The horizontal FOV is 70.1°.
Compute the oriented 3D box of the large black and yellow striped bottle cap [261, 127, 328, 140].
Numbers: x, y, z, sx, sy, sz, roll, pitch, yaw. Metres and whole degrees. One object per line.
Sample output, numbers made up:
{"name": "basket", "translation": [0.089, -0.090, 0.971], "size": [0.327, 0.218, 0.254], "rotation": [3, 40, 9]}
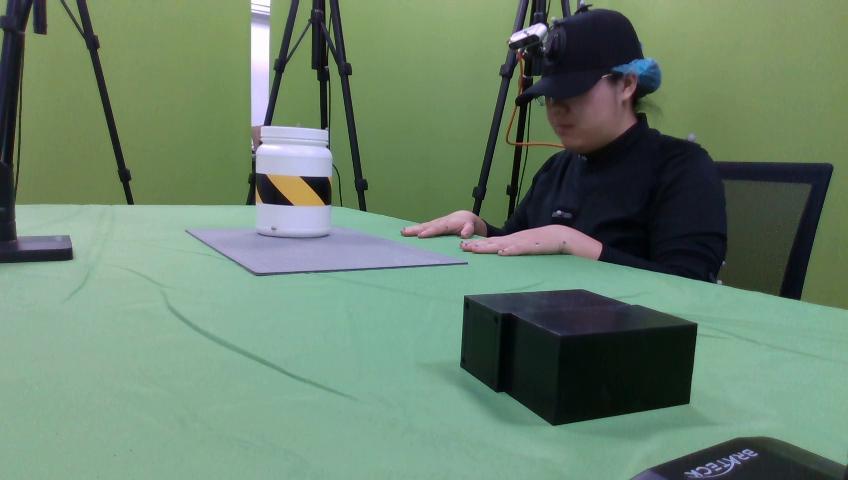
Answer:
{"name": "large black and yellow striped bottle cap", "translation": [-0.224, -0.184, 1.051], "size": [0.115, 0.019, 0.115], "rotation": [2, 6, 0]}

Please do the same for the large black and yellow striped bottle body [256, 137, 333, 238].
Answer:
{"name": "large black and yellow striped bottle body", "translation": [-0.228, -0.102, 1.063], "size": [0.131, 0.184, 0.130], "rotation": [3, 8, 0]}
